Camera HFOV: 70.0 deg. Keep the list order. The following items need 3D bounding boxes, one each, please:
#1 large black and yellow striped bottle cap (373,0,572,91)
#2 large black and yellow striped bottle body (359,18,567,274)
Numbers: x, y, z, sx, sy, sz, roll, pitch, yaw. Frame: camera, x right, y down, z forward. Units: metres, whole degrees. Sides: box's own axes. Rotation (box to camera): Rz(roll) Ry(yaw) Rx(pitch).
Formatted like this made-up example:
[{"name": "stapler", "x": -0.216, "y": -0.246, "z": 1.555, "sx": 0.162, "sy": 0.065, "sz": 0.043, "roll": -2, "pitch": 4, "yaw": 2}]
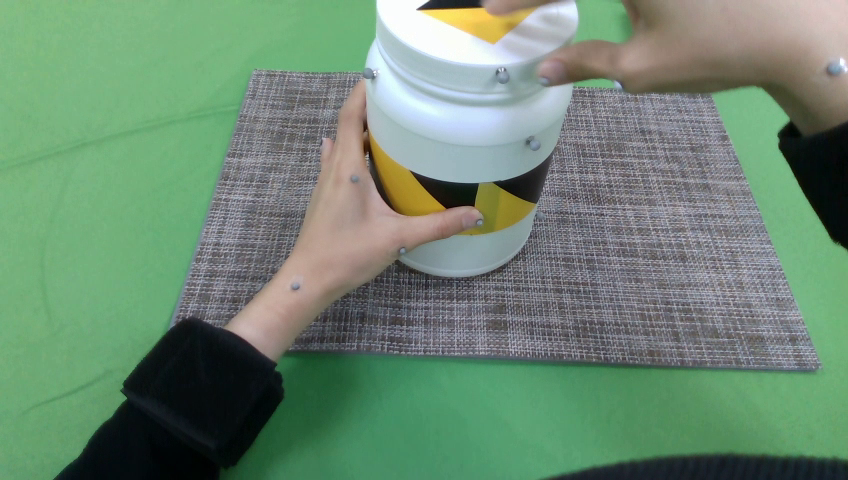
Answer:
[{"name": "large black and yellow striped bottle cap", "x": 0.028, "y": -0.130, "z": 0.348, "sx": 0.115, "sy": 0.019, "sz": 0.114, "roll": 2, "pitch": 54, "yaw": -2}, {"name": "large black and yellow striped bottle body", "x": 0.022, "y": -0.078, "z": 0.414, "sx": 0.131, "sy": 0.185, "sz": 0.129, "roll": 2, "pitch": 52, "yaw": -2}]
